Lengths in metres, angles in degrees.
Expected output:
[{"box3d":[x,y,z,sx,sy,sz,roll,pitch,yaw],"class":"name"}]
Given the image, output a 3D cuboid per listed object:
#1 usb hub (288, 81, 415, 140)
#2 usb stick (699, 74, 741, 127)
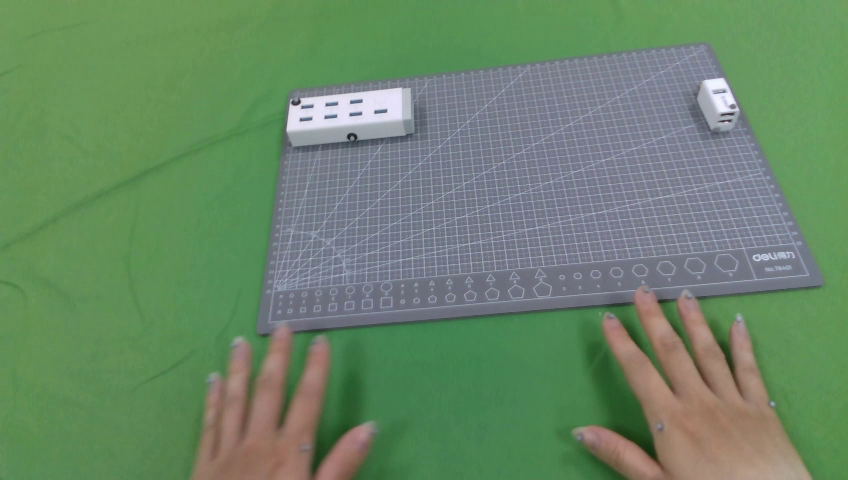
[{"box3d":[-0.072,-0.131,0.612,0.125,0.025,0.049,-4,55,4],"class":"usb hub"},{"box3d":[0.275,-0.136,0.568,0.021,0.027,0.058,-7,53,5],"class":"usb stick"}]
